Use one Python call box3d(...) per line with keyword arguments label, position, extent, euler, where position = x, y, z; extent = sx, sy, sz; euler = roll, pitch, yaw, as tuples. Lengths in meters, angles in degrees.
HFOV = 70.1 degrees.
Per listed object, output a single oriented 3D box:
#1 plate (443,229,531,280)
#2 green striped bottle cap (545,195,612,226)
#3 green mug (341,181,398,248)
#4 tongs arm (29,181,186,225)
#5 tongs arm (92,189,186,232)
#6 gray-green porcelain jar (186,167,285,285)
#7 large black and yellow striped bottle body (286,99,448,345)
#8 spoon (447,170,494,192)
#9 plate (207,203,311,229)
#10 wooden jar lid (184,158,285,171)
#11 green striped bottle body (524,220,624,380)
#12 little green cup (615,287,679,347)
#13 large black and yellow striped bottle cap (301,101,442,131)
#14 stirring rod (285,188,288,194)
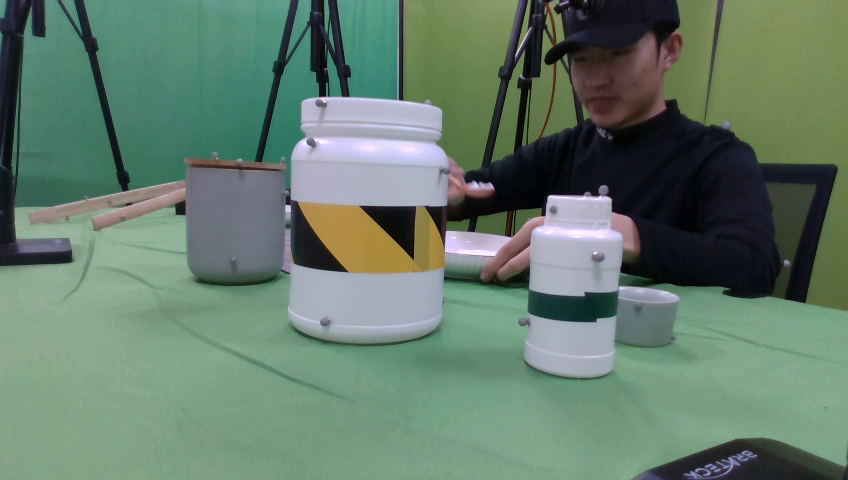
box3d(label="plate", position=(0.056, 0.019, 0.814), extent=(0.209, 0.038, 0.209), euler=(4, 9, 0))
box3d(label="green striped bottle cap", position=(0.106, -0.020, 0.414), extent=(0.044, 0.020, 0.044), euler=(2, 4, 0))
box3d(label="green mug", position=(-0.090, -0.044, 0.997), extent=(0.093, 0.105, 0.125), euler=(1, 7, -8))
box3d(label="tongs arm", position=(-0.609, -0.083, 1.245), extent=(0.050, 0.026, 0.386), euler=(5, 16, 23))
box3d(label="tongs arm", position=(-0.534, -0.076, 1.221), extent=(0.028, 0.028, 0.388), euler=(-2, 15, 12))
box3d(label="gray-green porcelain jar", position=(-0.212, -0.017, 0.682), extent=(0.106, 0.126, 0.106), euler=(2, 7, 0))
box3d(label="large black and yellow striped bottle body", position=(-0.047, -0.018, 0.501), extent=(0.131, 0.184, 0.130), euler=(2, 7, 0))
box3d(label="spoon", position=(0.019, -0.102, 0.884), extent=(0.193, 0.021, 0.042), euler=(27, 18, 33))
box3d(label="plate", position=(-0.342, -0.050, 1.259), extent=(0.208, 0.039, 0.207), euler=(2, 7, 0))
box3d(label="wooden jar lid", position=(-0.210, -0.078, 0.674), extent=(0.108, 0.020, 0.108), euler=(5, 5, 0))
box3d(label="green striped bottle body", position=(0.104, 0.031, 0.422), extent=(0.063, 0.119, 0.063), euler=(2, 8, 0))
box3d(label="little green cup", position=(0.180, 0.064, 0.506), extent=(0.061, 0.038, 0.061), euler=(1, 8, 0))
box3d(label="large black and yellow striped bottle cap", position=(-0.042, -0.100, 0.491), extent=(0.115, 0.019, 0.115), euler=(1, 8, 0))
box3d(label="stirring rod", position=(-0.353, -0.122, 1.518), extent=(0.006, 0.014, 0.176), euler=(1, 7, 1))
